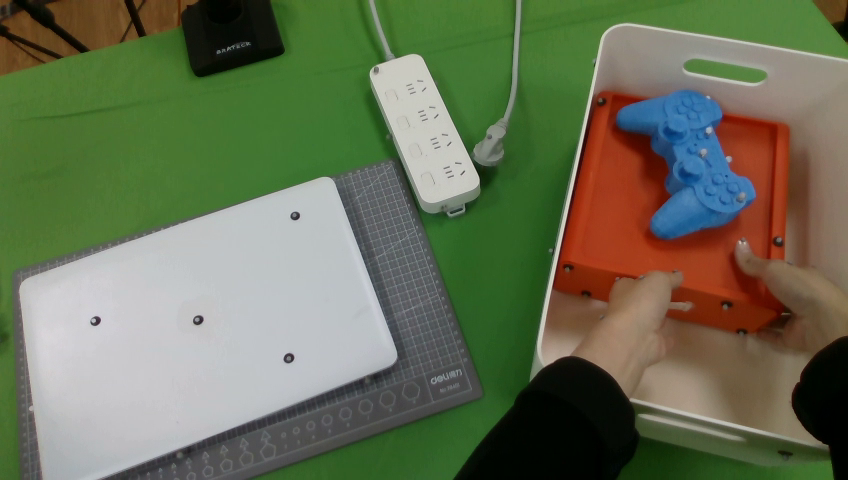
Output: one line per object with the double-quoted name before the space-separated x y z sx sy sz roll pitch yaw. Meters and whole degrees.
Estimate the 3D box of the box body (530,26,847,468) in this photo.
"box body" 0.254 0.005 0.570 0.253 0.161 0.362 13 66 9

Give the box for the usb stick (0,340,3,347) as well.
"usb stick" -0.472 0.102 0.629 0.059 0.021 0.027 7 65 -31

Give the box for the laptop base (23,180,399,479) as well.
"laptop base" -0.227 0.089 0.635 0.354 0.023 0.233 -20 69 -7

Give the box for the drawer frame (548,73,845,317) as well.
"drawer frame" 0.235 -0.043 0.569 0.083 0.212 0.202 -43 102 -3

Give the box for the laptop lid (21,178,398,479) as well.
"laptop lid" -0.227 0.086 0.623 0.357 0.013 0.239 -19 68 -6

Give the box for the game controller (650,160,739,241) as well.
"game controller" 0.255 -0.078 0.590 0.097 0.052 0.154 -6 64 -4

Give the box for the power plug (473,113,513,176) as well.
"power plug" 0.087 -0.106 0.699 0.035 0.053 0.072 39 55 23

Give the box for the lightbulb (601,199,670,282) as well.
"lightbulb" 0.209 0.000 0.618 0.059 0.060 0.106 -13 53 -2

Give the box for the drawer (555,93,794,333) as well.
"drawer" 0.253 -0.031 0.616 0.194 0.074 0.210 14 69 11

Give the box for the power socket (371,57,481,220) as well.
"power socket" 0.000 -0.126 0.716 0.072 0.033 0.224 -19 65 -7
